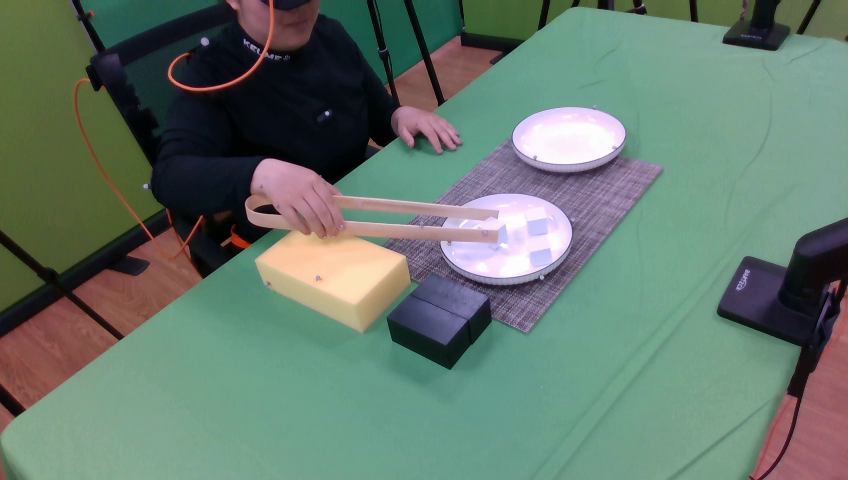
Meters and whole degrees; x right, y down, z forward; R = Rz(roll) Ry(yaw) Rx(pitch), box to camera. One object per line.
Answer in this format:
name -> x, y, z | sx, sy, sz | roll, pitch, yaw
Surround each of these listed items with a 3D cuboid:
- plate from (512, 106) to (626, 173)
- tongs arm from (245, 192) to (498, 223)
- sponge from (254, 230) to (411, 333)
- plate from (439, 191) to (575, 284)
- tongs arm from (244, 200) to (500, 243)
plate -> 0.269, -0.185, 1.132 | 0.209, 0.038, 0.208 | -5, 40, 5
tongs arm -> -0.078, -0.048, 0.934 | 0.388, 0.028, 0.028 | 4, 46, -1
sponge -> -0.139, 0.048, 0.922 | 0.205, 0.061, 0.118 | 19, 47, 30
plate -> 0.128, -0.002, 0.942 | 0.207, 0.039, 0.206 | -5, 40, 5
tongs arm -> -0.080, -0.028, 0.912 | 0.385, 0.026, 0.050 | 2, 42, -2
